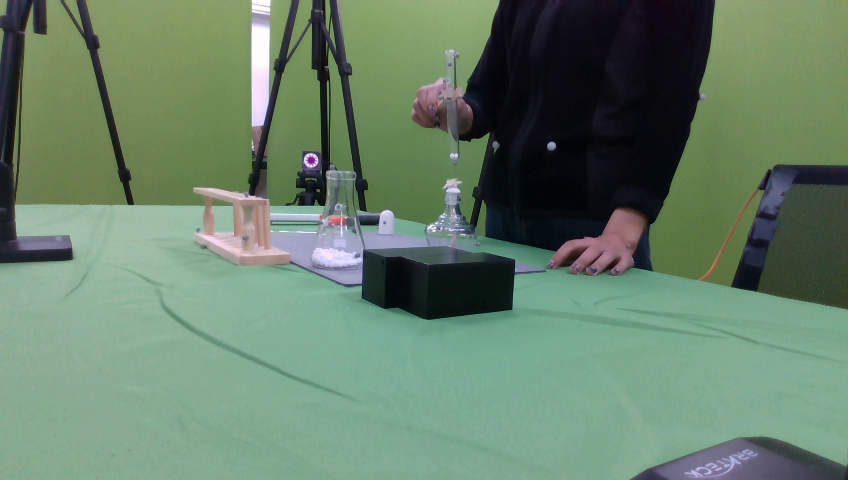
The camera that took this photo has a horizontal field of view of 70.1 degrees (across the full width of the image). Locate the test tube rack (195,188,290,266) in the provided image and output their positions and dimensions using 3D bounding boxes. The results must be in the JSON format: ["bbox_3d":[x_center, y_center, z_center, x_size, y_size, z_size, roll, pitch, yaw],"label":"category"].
[{"bbox_3d":[-0.266,-0.025,0.864,0.067,0.085,0.241,-2,9,-33],"label":"test tube rack"}]

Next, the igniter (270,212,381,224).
[{"bbox_3d":[-0.213,-0.047,1.279,0.278,0.025,0.057,-1,-2,-24],"label":"igniter"}]

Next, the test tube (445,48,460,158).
[{"bbox_3d":[0.039,-0.189,0.839,0.017,0.150,0.017,-3,3,0],"label":"test tube"}]

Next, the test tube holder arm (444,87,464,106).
[{"bbox_3d":[0.038,-0.204,0.862,0.010,0.015,0.087,1,4,-16],"label":"test tube holder arm"}]

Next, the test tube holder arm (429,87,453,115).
[{"bbox_3d":[0.024,-0.207,0.904,0.013,0.015,0.178,2,3,-9],"label":"test tube holder arm"}]

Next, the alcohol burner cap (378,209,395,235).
[{"bbox_3d":[-0.070,-0.035,1.144,0.034,0.048,0.034,2,8,0],"label":"alcohol burner cap"}]

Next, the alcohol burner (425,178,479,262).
[{"bbox_3d":[0.040,-0.028,0.853,0.078,0.119,0.078,2,9,0],"label":"alcohol burner"}]

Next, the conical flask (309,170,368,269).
[{"bbox_3d":[-0.107,-0.027,0.762,0.075,0.122,0.075,2,7,0],"label":"conical flask"}]

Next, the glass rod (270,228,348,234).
[{"bbox_3d":[-0.234,-0.017,1.105,0.201,0.008,0.008,1,6,-26],"label":"glass rod"}]
